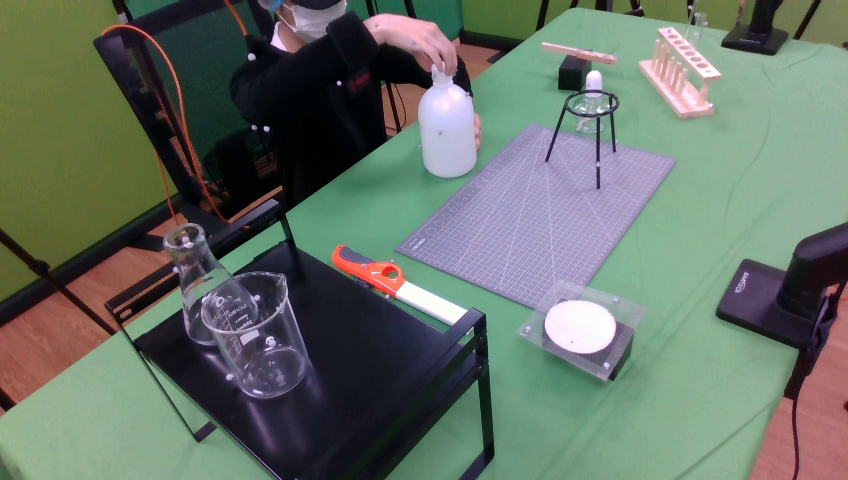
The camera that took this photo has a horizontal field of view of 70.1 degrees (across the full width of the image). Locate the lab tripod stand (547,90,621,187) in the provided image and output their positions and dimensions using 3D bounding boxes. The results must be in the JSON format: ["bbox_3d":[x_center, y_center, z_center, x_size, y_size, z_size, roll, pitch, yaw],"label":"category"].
[{"bbox_3d":[0.289,-0.184,1.062,0.148,0.132,0.147,-6,41,6],"label":"lab tripod stand"}]

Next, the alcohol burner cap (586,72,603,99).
[{"bbox_3d":[0.325,-0.297,1.154,0.034,0.048,0.033,-8,35,6],"label":"alcohol burner cap"}]

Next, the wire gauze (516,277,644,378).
[{"bbox_3d":[0.197,0.103,0.765,0.124,0.011,0.122,23,50,32],"label":"wire gauze"}]

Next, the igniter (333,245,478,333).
[{"bbox_3d":[-0.038,0.068,0.905,0.274,0.025,0.057,24,60,32],"label":"igniter"}]

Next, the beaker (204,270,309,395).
[{"bbox_3d":[-0.149,0.088,0.565,0.073,0.101,0.084,21,47,29],"label":"beaker"}]

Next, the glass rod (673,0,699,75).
[{"bbox_3d":[0.541,-0.427,1.246,0.008,0.200,0.008,0,48,1],"label":"glass rod"}]

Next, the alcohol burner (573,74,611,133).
[{"bbox_3d":[0.330,-0.270,1.177,0.078,0.119,0.077,-4,43,4],"label":"alcohol burner"}]

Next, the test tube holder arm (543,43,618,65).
[{"bbox_3d":[0.345,-0.413,1.340,0.177,0.015,0.013,25,50,31],"label":"test tube holder arm"}]

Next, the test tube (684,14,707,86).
[{"bbox_3d":[0.541,-0.379,1.216,0.017,0.151,0.017,-2,44,2],"label":"test tube"}]

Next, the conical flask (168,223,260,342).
[{"bbox_3d":[-0.219,0.040,0.614,0.075,0.122,0.075,-5,40,4],"label":"conical flask"}]

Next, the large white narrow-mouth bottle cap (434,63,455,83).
[{"bbox_3d":[0.035,-0.287,1.038,0.038,0.024,0.037,-4,40,4],"label":"large white narrow-mouth bottle cap"}]

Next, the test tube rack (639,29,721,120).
[{"bbox_3d":[0.527,-0.351,1.262,0.067,0.085,0.241,-8,40,1],"label":"test tube rack"}]

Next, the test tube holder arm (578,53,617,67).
[{"bbox_3d":[0.376,-0.393,1.314,0.087,0.015,0.010,26,51,32],"label":"test tube holder arm"}]

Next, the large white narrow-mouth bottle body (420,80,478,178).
[{"bbox_3d":[0.043,-0.217,1.098,0.102,0.195,0.101,-4,40,4],"label":"large white narrow-mouth bottle body"}]
